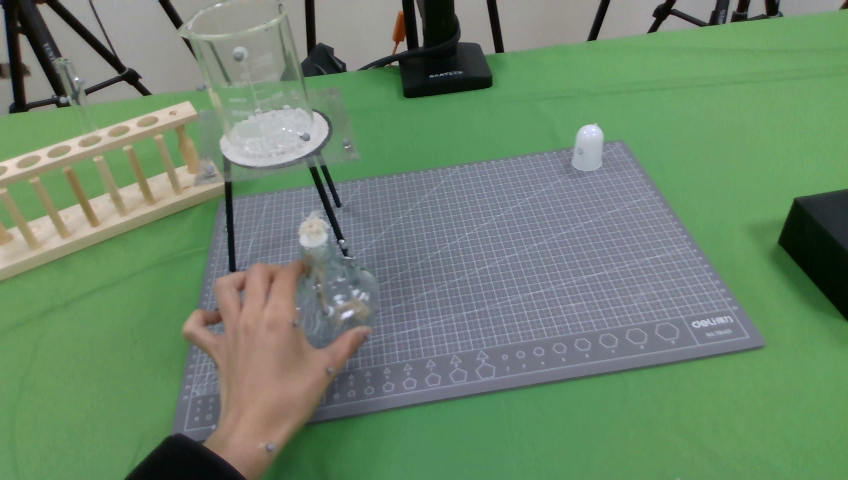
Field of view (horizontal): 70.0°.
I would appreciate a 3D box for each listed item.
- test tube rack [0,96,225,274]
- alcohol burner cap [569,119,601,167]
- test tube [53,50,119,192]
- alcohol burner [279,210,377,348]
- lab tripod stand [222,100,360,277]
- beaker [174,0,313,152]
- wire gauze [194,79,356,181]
[{"bbox_3d":[-0.339,-0.059,0.621,0.242,0.086,0.066,-25,45,-20],"label":"test tube rack"},{"bbox_3d":[0.171,-0.105,0.640,0.034,0.048,0.033,-3,42,3],"label":"alcohol burner cap"},{"bbox_3d":[-0.335,-0.114,0.606,0.017,0.151,0.017,-1,36,1],"label":"test tube"},{"bbox_3d":[-0.077,0.027,0.469,0.078,0.120,0.077,-3,40,3],"label":"alcohol burner"},{"bbox_3d":[-0.118,-0.043,0.536,0.148,0.133,0.147,-4,44,4],"label":"lab tripod stand"},{"bbox_3d":[-0.131,-0.124,0.457,0.084,0.101,0.073,-7,42,1],"label":"beaker"},{"bbox_3d":[-0.124,-0.091,0.492,0.125,0.011,0.120,-14,41,-5],"label":"wire gauze"}]
